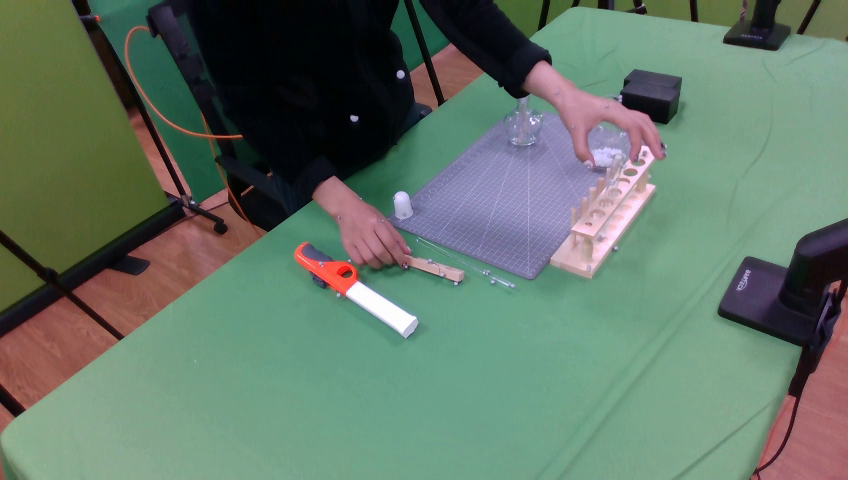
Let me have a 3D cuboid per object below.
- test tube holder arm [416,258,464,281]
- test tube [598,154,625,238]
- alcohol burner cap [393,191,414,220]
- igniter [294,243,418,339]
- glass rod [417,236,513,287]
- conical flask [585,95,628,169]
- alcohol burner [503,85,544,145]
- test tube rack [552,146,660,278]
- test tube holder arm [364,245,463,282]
[{"bbox_3d":[0.022,0.045,0.931,0.087,0.015,0.010,15,10,28],"label":"test tube holder arm"},{"bbox_3d":[0.270,-0.060,0.876,0.017,0.151,0.017,-2,43,2],"label":"test tube"},{"bbox_3d":[-0.037,-0.061,1.044,0.034,0.048,0.033,-5,40,5],"label":"alcohol burner cap"},{"bbox_3d":[-0.113,0.070,0.919,0.274,0.025,0.057,29,63,37],"label":"igniter"},{"bbox_3d":[0.059,0.032,0.944,0.198,0.008,0.008,27,53,37],"label":"glass rod"},{"bbox_3d":[0.324,-0.192,1.066,0.075,0.122,0.075,-6,40,5],"label":"conical flask"},{"bbox_3d":[0.191,-0.243,1.160,0.078,0.119,0.077,-4,40,4],"label":"alcohol burner"},{"bbox_3d":[0.286,-0.053,0.943,0.066,0.085,0.243,21,49,32],"label":"test tube rack"},{"bbox_3d":[-0.020,0.035,0.947,0.177,0.015,0.013,15,10,26],"label":"test tube holder arm"}]
